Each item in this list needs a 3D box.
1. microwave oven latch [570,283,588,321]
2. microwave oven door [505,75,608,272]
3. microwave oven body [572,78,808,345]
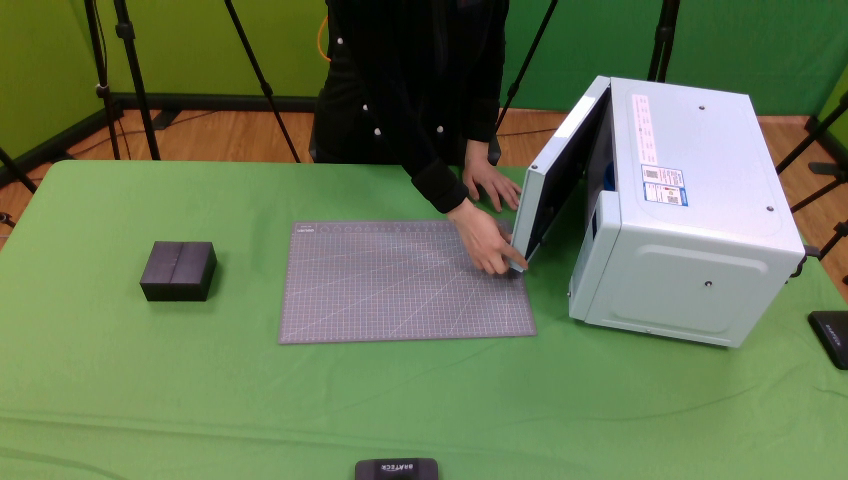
[{"bbox_3d":[0.276,0.105,1.082,0.030,0.029,0.079,10,45,7],"label":"microwave oven latch"},{"bbox_3d":[0.262,-0.136,1.173,0.039,0.245,0.355,25,49,18],"label":"microwave oven door"},{"bbox_3d":[0.456,-0.063,1.125,0.326,0.261,0.439,8,45,5],"label":"microwave oven body"}]
